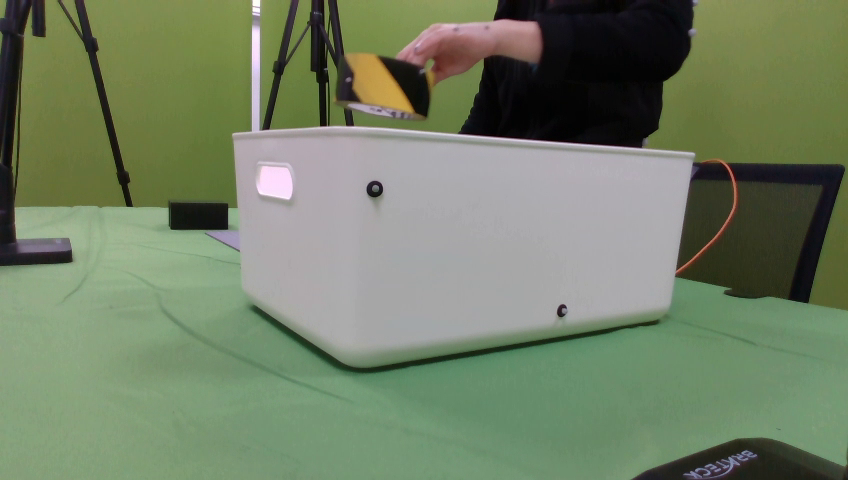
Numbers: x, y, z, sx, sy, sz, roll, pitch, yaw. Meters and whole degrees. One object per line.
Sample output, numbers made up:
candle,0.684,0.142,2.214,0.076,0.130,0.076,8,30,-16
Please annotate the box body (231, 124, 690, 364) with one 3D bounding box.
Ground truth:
box body,0.031,-0.013,0.563,0.366,0.160,0.253,-3,8,-33

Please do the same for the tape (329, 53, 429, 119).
tape,-0.052,-0.177,0.704,0.117,0.052,0.117,10,5,-1

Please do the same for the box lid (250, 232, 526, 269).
box lid,-0.057,0.012,0.934,0.373,0.015,0.262,-2,8,-32
